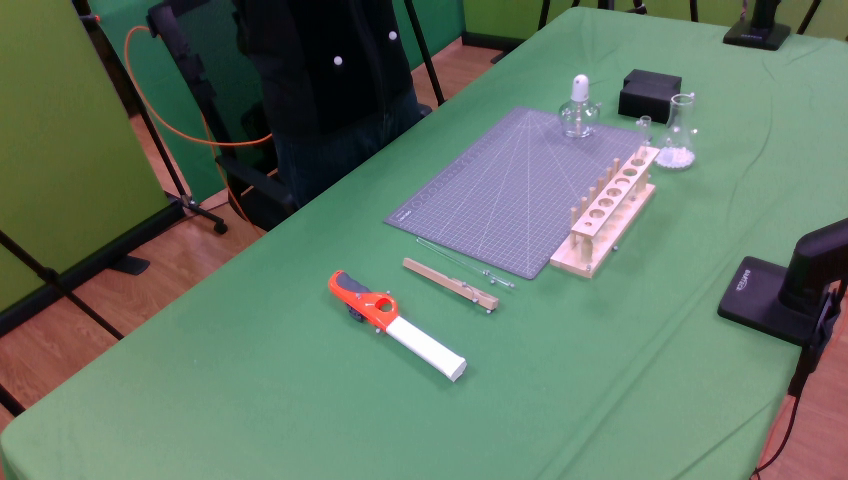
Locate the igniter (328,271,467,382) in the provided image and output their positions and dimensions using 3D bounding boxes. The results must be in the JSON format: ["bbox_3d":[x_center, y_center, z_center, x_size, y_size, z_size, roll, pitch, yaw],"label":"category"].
[{"bbox_3d":[-0.049,0.114,0.854,0.274,0.025,0.057,29,63,37],"label":"igniter"}]

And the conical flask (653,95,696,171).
[{"bbox_3d":[0.437,-0.187,1.043,0.075,0.122,0.075,-6,40,5],"label":"conical flask"}]

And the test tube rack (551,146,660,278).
[{"bbox_3d":[0.286,-0.053,0.943,0.066,0.085,0.243,21,49,32],"label":"test tube rack"}]

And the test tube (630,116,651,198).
[{"bbox_3d":[0.336,-0.125,0.941,0.017,0.151,0.017,-5,43,5],"label":"test tube"}]

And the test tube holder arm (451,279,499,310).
[{"bbox_3d":[0.071,0.079,0.882,0.087,0.015,0.010,24,13,34],"label":"test tube holder arm"}]

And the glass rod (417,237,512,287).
[{"bbox_3d":[0.059,0.032,0.945,0.198,0.008,0.008,26,52,38],"label":"glass rod"}]

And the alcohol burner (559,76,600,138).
[{"bbox_3d":[0.298,-0.258,1.156,0.078,0.119,0.077,-4,39,4],"label":"alcohol burner"}]

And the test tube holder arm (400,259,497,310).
[{"bbox_3d":[0.033,0.064,0.902,0.177,0.015,0.013,23,13,32],"label":"test tube holder arm"}]

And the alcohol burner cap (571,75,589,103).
[{"bbox_3d":[0.294,-0.284,1.132,0.034,0.048,0.033,-5,46,6],"label":"alcohol burner cap"}]
